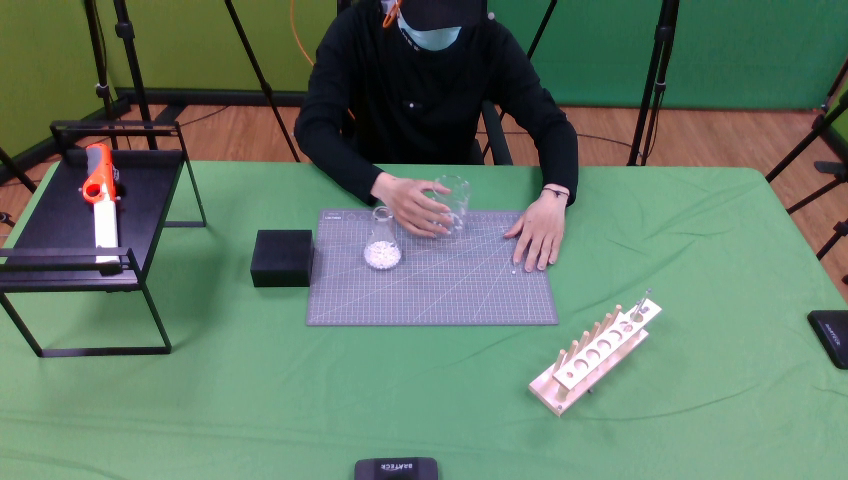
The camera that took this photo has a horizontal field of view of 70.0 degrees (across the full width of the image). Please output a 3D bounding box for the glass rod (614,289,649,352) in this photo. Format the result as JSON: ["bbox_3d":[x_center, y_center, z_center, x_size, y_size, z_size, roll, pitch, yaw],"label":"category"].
[{"bbox_3d":[0.326,0.133,0.960,0.008,0.201,0.008,0,53,1],"label":"glass rod"}]

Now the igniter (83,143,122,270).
[{"bbox_3d":[-0.508,-0.063,0.962,0.057,0.025,0.274,-14,53,-18],"label":"igniter"}]

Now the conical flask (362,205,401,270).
[{"bbox_3d":[-0.078,-0.008,1.127,0.075,0.122,0.075,2,46,-2],"label":"conical flask"}]

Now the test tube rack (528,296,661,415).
[{"bbox_3d":[0.285,0.178,1.005,0.242,0.085,0.066,-31,55,-29],"label":"test tube rack"}]

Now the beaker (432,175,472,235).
[{"bbox_3d":[0.054,-0.064,1.188,0.074,0.101,0.083,-25,53,-25],"label":"beaker"}]
